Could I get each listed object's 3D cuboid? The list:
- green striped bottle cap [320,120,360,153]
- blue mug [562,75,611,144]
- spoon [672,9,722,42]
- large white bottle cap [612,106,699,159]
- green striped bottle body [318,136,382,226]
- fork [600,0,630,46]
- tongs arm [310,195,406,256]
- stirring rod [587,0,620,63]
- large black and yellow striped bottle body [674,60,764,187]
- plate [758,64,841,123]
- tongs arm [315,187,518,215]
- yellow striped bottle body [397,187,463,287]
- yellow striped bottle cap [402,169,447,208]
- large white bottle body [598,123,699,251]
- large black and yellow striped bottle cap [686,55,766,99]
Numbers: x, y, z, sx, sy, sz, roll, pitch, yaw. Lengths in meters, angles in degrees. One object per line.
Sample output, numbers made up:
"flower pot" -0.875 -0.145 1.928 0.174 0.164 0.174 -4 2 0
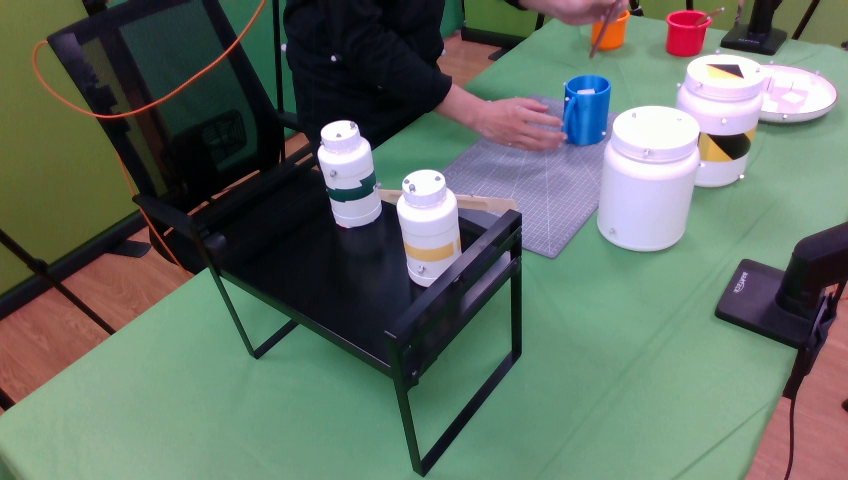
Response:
"green striped bottle cap" -0.097 -0.120 0.699 0.044 0.020 0.044 -3 40 3
"blue mug" 0.298 -0.239 1.143 0.117 0.106 0.081 -37 48 -29
"spoon" 0.606 -0.476 1.345 0.042 0.021 0.193 -6 -3 -2
"large white bottle cap" 0.325 -0.153 0.850 0.115 0.018 0.114 -4 41 4
"green striped bottle body" -0.090 -0.080 0.733 0.063 0.120 0.063 -5 41 4
"fork" 0.480 -0.556 1.453 0.028 0.019 0.207 41 103 41
"tongs arm" -0.078 -0.013 0.944 0.028 0.028 0.384 -42 39 -23
"stirring rod" 0.338 -0.408 1.098 0.006 0.176 0.014 15 19 -20
"large black and yellow striped bottle body" 0.482 -0.196 1.008 0.131 0.185 0.130 -4 41 4
"plate" 0.694 -0.283 1.189 0.207 0.039 0.206 -4 40 4
"tongs arm" -0.028 -0.060 0.988 0.382 0.027 0.051 10 45 36
"yellow striped bottle body" 0.007 -0.013 0.638 0.063 0.121 0.062 -5 41 4
"yellow striped bottle cap" 0.000 -0.052 0.605 0.044 0.019 0.044 -5 43 5
"large white bottle body" 0.334 -0.090 0.906 0.130 0.185 0.130 -5 41 5
"large black and yellow striped bottle cap" 0.474 -0.258 0.952 0.115 0.019 0.114 -5 41 5
